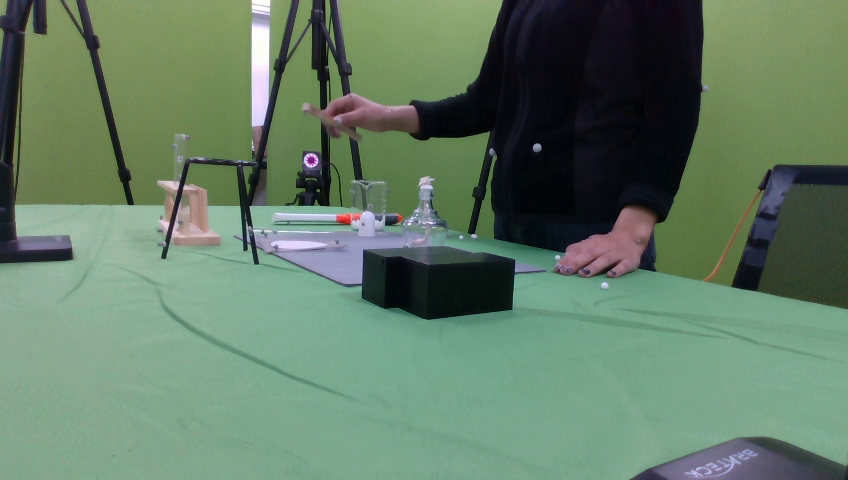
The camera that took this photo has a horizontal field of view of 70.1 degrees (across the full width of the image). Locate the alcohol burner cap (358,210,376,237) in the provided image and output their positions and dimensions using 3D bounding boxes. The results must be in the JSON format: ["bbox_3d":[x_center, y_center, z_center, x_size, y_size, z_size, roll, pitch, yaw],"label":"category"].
[{"bbox_3d":[-0.104,-0.030,1.098,0.034,0.048,0.034,3,7,0],"label":"alcohol burner cap"}]

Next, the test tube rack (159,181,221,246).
[{"bbox_3d":[-0.395,-0.050,1.010,0.067,0.085,0.241,-2,8,-28],"label":"test tube rack"}]

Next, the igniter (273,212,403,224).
[{"bbox_3d":[-0.179,-0.048,1.290,0.278,0.025,0.057,-1,-2,-24],"label":"igniter"}]

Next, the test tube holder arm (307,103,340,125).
[{"bbox_3d":[-0.186,-0.233,1.124,0.010,0.015,0.088,14,-2,28],"label":"test tube holder arm"}]

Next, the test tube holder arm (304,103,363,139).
[{"bbox_3d":[-0.170,-0.227,1.166,0.013,0.015,0.179,14,-2,28],"label":"test tube holder arm"}]

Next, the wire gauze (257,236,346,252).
[{"bbox_3d":[-0.189,0.005,0.931,0.122,0.011,0.124,1,7,-21],"label":"wire gauze"}]

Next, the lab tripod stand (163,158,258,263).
[{"bbox_3d":[-0.265,-0.041,0.802,0.148,0.131,0.148,4,7,0],"label":"lab tripod stand"}]

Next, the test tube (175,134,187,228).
[{"bbox_3d":[-0.388,-0.094,0.964,0.017,0.150,0.017,1,2,0],"label":"test tube"}]

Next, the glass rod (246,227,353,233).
[{"bbox_3d":[-0.224,-0.017,1.109,0.201,0.008,0.008,1,7,-27],"label":"glass rod"}]

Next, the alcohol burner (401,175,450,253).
[{"bbox_3d":[0.003,-0.040,0.933,0.078,0.119,0.078,2,9,0],"label":"alcohol burner"}]

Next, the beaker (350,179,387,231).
[{"bbox_3d":[-0.111,-0.069,1.204,0.074,0.100,0.084,2,8,0],"label":"beaker"}]
